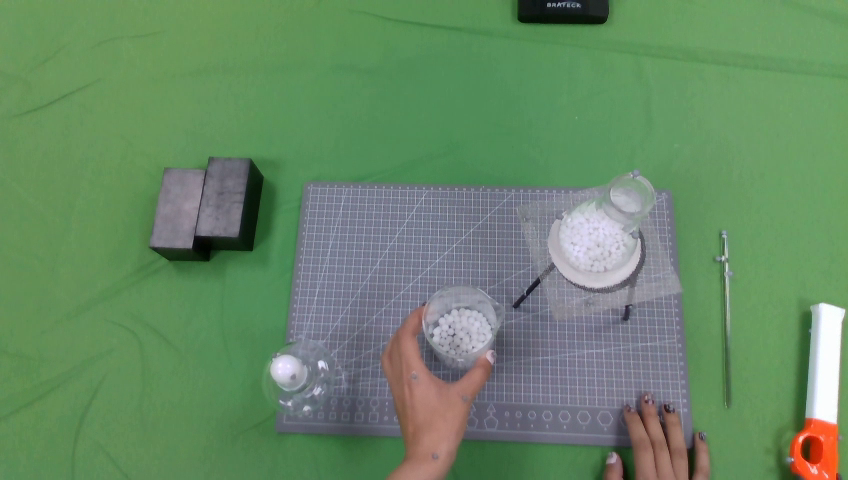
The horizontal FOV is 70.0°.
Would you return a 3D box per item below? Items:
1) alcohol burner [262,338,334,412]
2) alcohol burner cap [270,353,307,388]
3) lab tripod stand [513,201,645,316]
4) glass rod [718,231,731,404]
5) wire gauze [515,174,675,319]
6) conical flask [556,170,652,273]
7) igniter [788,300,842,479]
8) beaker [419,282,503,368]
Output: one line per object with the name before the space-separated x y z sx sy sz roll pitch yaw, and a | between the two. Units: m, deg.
alcohol burner | -0.133 0.138 0.626 0.078 0.120 0.077 0 73 1
alcohol burner cap | -0.134 0.125 0.592 0.034 0.048 0.033 1 70 -3
lab tripod stand | 0.167 0.027 0.641 0.148 0.132 0.147 -1 73 3
glass rod | 0.339 0.084 0.684 0.008 0.008 0.198 6 72 4
wire gauze | 0.163 0.005 0.579 0.125 0.011 0.120 -14 75 -4
conical flask | 0.160 -0.019 0.524 0.075 0.122 0.075 -1 74 2
igniter | 0.412 0.198 0.635 0.057 0.025 0.275 17 73 -3
beaker | 0.040 0.091 0.628 0.084 0.101 0.073 -15 70 -1
